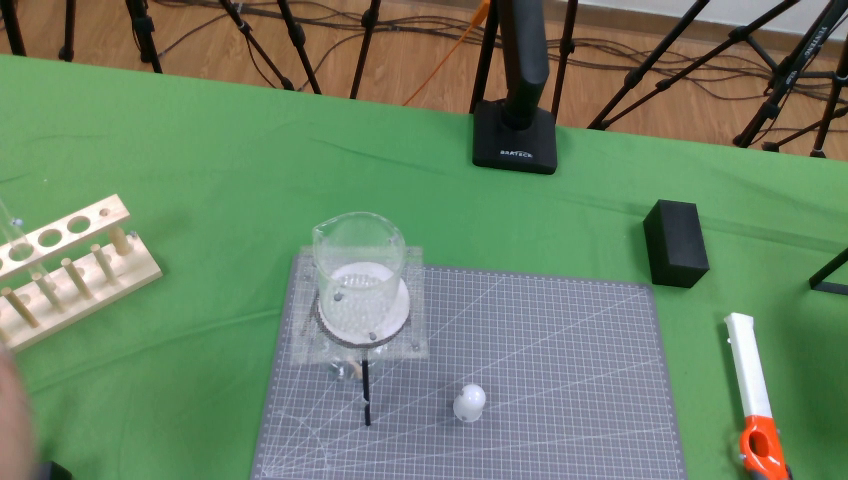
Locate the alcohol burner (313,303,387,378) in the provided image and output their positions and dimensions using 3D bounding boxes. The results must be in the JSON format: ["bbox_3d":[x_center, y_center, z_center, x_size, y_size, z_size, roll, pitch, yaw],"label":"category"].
[{"bbox_3d":[-0.076,0.097,0.627,0.078,0.120,0.077,5,56,-6],"label":"alcohol burner"}]

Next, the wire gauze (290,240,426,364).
[{"bbox_3d":[-0.062,0.054,0.567,0.121,0.011,0.124,0,61,-6],"label":"wire gauze"}]

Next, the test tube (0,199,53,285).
[{"bbox_3d":[-0.405,0.003,0.606,0.017,0.151,0.017,4,52,-5],"label":"test tube"}]

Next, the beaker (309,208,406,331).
[{"bbox_3d":[-0.061,0.029,0.524,0.084,0.101,0.073,27,58,10],"label":"beaker"}]

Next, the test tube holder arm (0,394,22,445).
[{"bbox_3d":[-0.383,0.181,0.537,0.010,0.015,0.087,8,56,-2],"label":"test tube holder arm"}]

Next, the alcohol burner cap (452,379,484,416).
[{"bbox_3d":[0.048,0.166,0.642,0.034,0.048,0.033,2,60,-3],"label":"alcohol burner cap"}]

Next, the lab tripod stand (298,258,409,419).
[{"bbox_3d":[-0.065,0.093,0.619,0.149,0.132,0.147,4,58,-6],"label":"lab tripod stand"}]

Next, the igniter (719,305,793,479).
[{"bbox_3d":[0.369,0.199,0.673,0.057,0.025,0.274,13,57,-11],"label":"igniter"}]

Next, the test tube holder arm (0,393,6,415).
[{"bbox_3d":[-0.392,0.217,0.511,0.013,0.015,0.177,7,56,-2],"label":"test tube holder arm"}]

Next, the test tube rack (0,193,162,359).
[{"bbox_3d":[-0.414,0.051,0.633,0.242,0.086,0.066,-32,66,-24],"label":"test tube rack"}]
